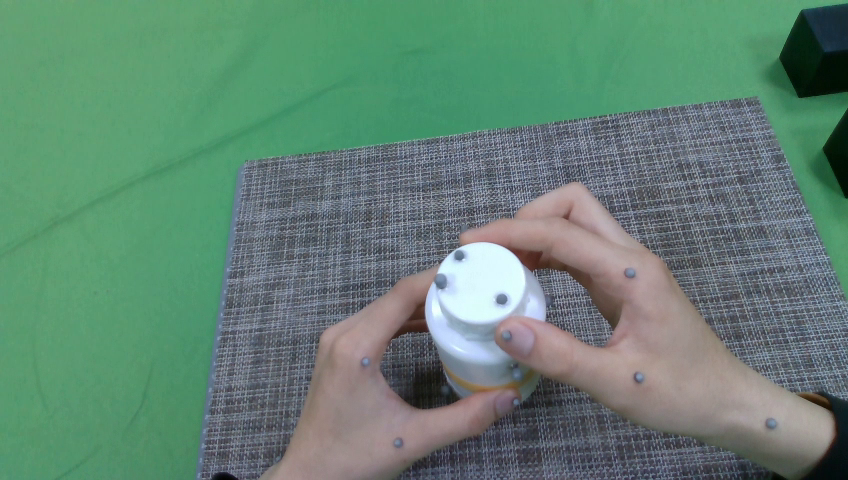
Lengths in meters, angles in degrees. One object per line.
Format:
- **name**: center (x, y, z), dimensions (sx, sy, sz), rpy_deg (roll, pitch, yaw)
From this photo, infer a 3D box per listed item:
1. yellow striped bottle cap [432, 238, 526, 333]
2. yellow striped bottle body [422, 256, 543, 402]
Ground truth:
- **yellow striped bottle cap**: center (0.026, 0.021, 0.291), dimensions (0.044, 0.019, 0.044), rpy_deg (-5, 62, 10)
- **yellow striped bottle body**: center (0.033, 0.047, 0.339), dimensions (0.063, 0.121, 0.062), rpy_deg (-3, 63, 5)
